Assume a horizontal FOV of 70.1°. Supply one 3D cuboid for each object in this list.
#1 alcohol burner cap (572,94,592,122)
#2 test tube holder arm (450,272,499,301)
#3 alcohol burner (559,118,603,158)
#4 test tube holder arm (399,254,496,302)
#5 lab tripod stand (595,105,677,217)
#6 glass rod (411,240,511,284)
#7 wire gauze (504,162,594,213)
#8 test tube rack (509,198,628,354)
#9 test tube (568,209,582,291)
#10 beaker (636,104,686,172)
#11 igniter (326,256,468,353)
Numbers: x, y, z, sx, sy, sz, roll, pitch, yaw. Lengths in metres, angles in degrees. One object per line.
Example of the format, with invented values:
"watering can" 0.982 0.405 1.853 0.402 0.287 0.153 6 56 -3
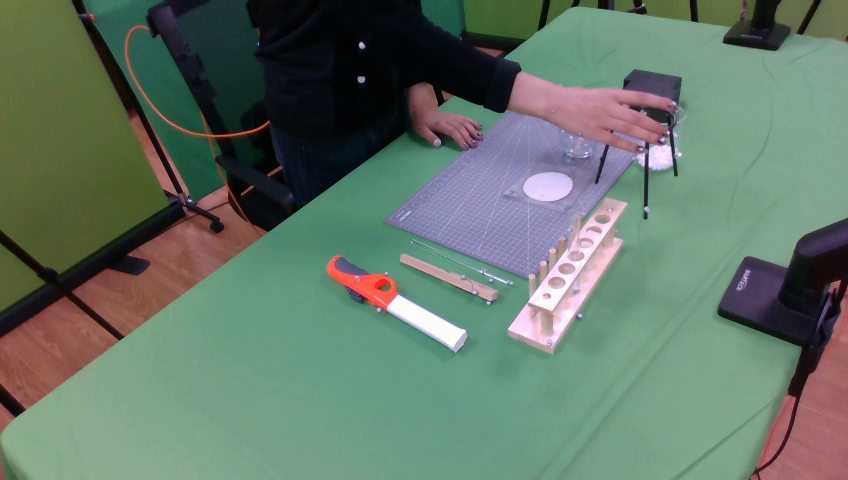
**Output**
"alcohol burner cap" 0.284 -0.238 1.079 0.034 0.048 0.033 -1 48 2
"test tube holder arm" 0.071 0.068 0.895 0.087 0.015 0.010 21 15 32
"alcohol burner" 0.287 -0.211 1.104 0.078 0.119 0.077 -4 41 4
"test tube holder arm" 0.032 0.055 0.914 0.177 0.015 0.013 21 15 32
"lab tripod stand" 0.332 -0.130 0.923 0.148 0.132 0.147 -7 36 6
"glass rod" 0.053 0.033 0.946 0.198 0.008 0.008 22 50 36
"wire gauze" 0.220 -0.098 1.065 0.124 0.011 0.122 17 47 33
"test tube rack" 0.206 0.039 0.850 0.066 0.085 0.243 20 48 31
"test tube" 0.200 0.018 0.799 0.017 0.151 0.017 -8 45 8
"beaker" 0.413 -0.177 1.055 0.084 0.101 0.073 -28 43 -21
"igniter" -0.050 0.088 0.886 0.274 0.025 0.057 26 61 35
